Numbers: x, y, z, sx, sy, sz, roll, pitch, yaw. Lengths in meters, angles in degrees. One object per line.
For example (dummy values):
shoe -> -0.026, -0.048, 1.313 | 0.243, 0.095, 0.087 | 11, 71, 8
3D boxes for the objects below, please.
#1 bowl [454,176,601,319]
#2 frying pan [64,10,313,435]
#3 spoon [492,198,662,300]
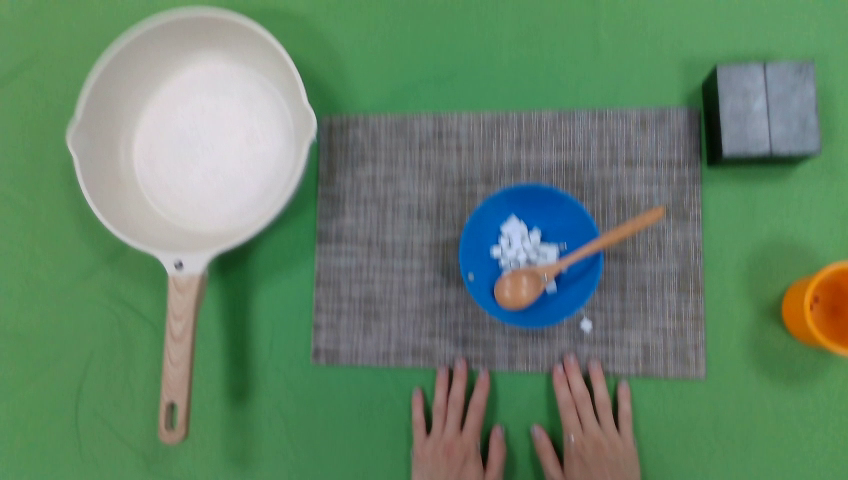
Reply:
bowl -> 0.113, 0.012, 0.667 | 0.151, 0.077, 0.151 | -1, 84, 7
frying pan -> -0.275, -0.026, 0.709 | 0.306, 0.103, 0.485 | -1, 75, 8
spoon -> 0.157, 0.009, 0.630 | 0.193, 0.022, 0.041 | -31, 75, 21
